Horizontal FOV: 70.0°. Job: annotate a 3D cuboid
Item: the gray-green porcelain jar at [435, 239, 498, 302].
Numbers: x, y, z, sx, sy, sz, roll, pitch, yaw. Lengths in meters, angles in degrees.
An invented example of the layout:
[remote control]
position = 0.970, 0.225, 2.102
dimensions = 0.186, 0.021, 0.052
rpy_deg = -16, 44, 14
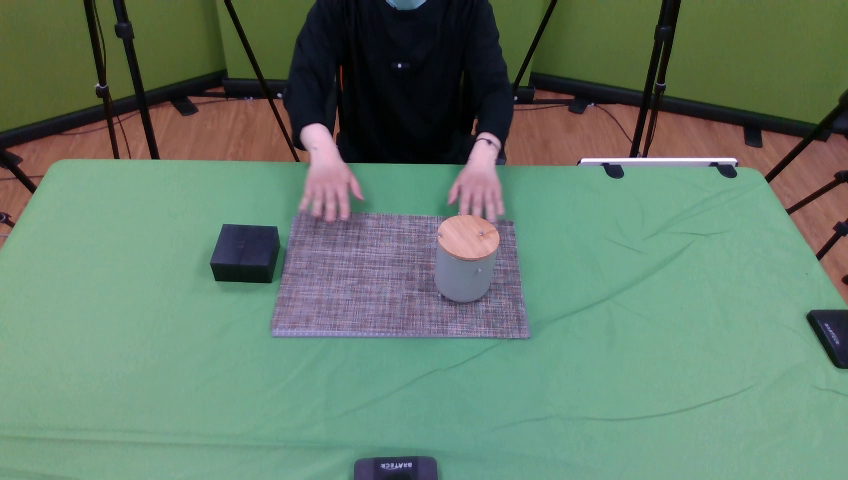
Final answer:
[gray-green porcelain jar]
position = 0.073, 0.041, 1.083
dimensions = 0.106, 0.127, 0.105
rpy_deg = 2, 46, -2

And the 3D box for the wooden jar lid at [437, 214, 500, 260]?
[wooden jar lid]
position = 0.076, -0.002, 1.039
dimensions = 0.108, 0.021, 0.107
rpy_deg = 2, 44, -1
